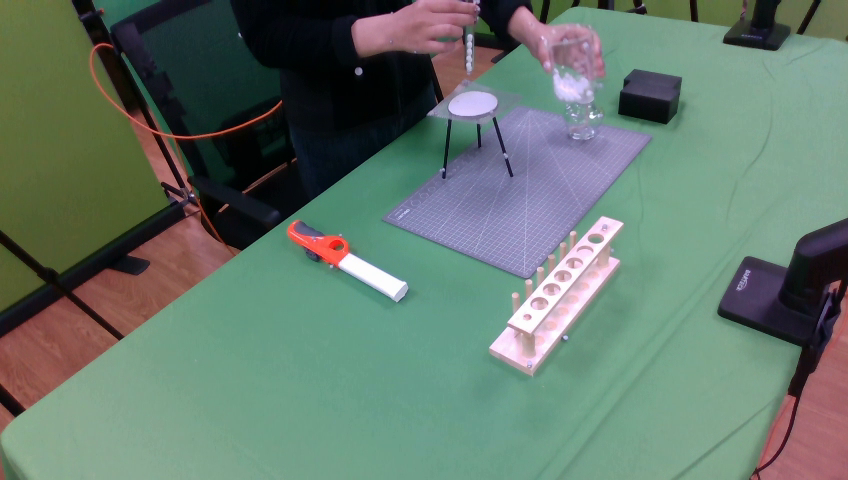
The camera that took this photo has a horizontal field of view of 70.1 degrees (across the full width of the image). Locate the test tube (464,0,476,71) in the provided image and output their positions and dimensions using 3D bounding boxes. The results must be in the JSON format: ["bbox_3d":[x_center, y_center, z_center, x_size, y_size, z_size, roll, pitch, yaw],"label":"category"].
[{"bbox_3d":[0.072,-0.335,0.947,0.017,0.151,0.017,-1,43,2],"label":"test tube"}]

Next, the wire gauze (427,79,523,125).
[{"bbox_3d":[0.088,-0.239,1.050,0.120,0.011,0.125,23,50,30],"label":"wire gauze"}]

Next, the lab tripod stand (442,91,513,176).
[{"bbox_3d":[0.096,-0.190,1.096,0.148,0.132,0.147,-4,40,4],"label":"lab tripod stand"}]

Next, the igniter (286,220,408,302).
[{"bbox_3d":[-0.134,0.028,0.969,0.274,0.025,0.057,26,61,35],"label":"igniter"}]

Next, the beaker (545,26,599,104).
[{"bbox_3d":[0.234,-0.272,0.952,0.084,0.101,0.073,-24,34,-11],"label":"beaker"}]

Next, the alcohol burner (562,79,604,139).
[{"bbox_3d":[0.303,-0.253,1.147,0.078,0.119,0.077,-4,41,4],"label":"alcohol burner"}]

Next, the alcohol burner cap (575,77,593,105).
[{"bbox_3d":[0.297,-0.279,1.123,0.034,0.048,0.033,-8,42,8],"label":"alcohol burner cap"}]

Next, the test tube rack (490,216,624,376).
[{"bbox_3d":[0.184,0.064,0.822,0.066,0.085,0.243,24,50,33],"label":"test tube rack"}]
